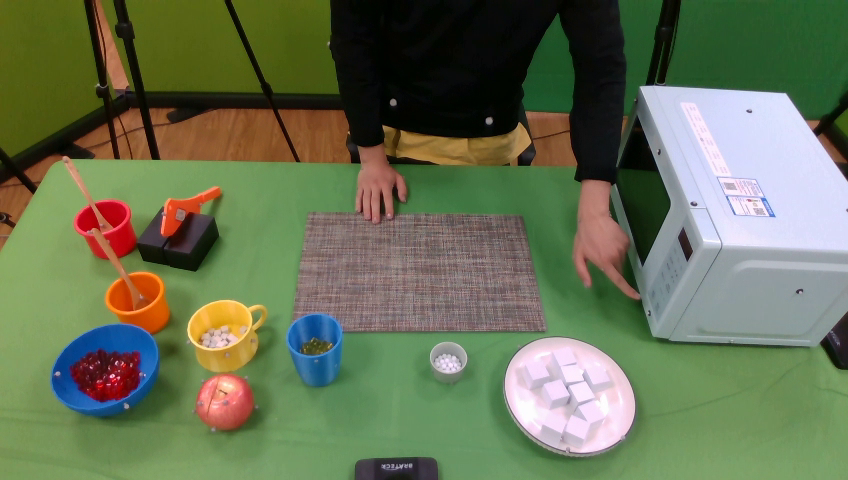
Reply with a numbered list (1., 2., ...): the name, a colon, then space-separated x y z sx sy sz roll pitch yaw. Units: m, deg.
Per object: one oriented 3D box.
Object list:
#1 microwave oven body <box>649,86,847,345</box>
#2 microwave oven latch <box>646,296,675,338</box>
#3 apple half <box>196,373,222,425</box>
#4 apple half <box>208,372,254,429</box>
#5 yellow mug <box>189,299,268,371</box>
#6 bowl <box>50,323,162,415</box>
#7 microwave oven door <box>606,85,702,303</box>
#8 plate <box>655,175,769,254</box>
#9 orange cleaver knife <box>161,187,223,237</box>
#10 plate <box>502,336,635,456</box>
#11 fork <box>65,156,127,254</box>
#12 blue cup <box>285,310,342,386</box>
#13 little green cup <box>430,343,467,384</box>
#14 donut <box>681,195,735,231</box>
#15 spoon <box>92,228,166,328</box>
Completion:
1. microwave oven body: 0.568 -0.053 1.118 0.326 0.261 0.439 2 45 -1
2. microwave oven latch: 0.412 0.134 1.061 0.030 0.029 0.078 4 45 1
3. apple half: -0.322 0.239 0.907 0.033 0.081 0.081 7 46 -1
4. apple half: -0.282 0.244 0.907 0.053 0.075 0.080 7 43 -1
5. yellow mug: -0.316 0.148 1.002 0.131 0.064 0.099 -32 56 -31
6. bowl: -0.472 0.209 0.924 0.151 0.077 0.150 3 45 -2
7. microwave oven door: 0.423 -0.094 1.140 0.039 0.245 0.353 2 46 -1
8. plate: 0.555 -0.046 1.184 0.209 0.038 0.208 2 46 -2
9. orange cleaver knife: -0.448 -0.058 1.180 0.012 0.077 0.211 13 17 6
10. plate: 0.225 0.248 0.963 0.208 0.039 0.206 2 46 -2
11. fork: -0.614 -0.064 1.130 0.028 0.018 0.207 -29 97 -17
12. blue cup: -0.170 0.179 0.958 0.093 0.101 0.092 1 44 -1
13. little green cup: 0.039 0.203 0.994 0.061 0.039 0.061 2 46 -2
14. donut: 0.551 -0.054 1.177 0.099 0.048 0.098 1 36 0
15. spoon: -0.495 0.063 1.014 0.041 0.194 0.021 -34 13 -32
